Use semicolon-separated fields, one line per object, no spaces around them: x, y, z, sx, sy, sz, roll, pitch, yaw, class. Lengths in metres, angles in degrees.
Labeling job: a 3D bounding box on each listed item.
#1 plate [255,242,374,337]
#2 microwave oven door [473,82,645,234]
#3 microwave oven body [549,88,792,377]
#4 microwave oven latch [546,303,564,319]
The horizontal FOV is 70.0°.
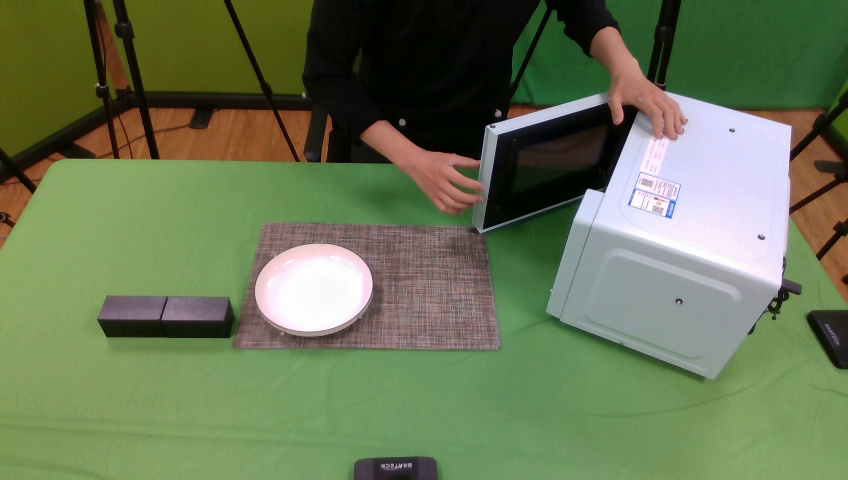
-0.192;0.090;1.079;0.208;0.039;0.206;2;46;-2;plate
0.266;-0.163;1.196;0.356;0.245;0.039;-20;49;-21;microwave oven door
0.456;-0.028;1.088;0.325;0.261;0.440;20;47;16;microwave oven body
0.242;0.102;1.081;0.030;0.029;0.079;22;48;17;microwave oven latch
